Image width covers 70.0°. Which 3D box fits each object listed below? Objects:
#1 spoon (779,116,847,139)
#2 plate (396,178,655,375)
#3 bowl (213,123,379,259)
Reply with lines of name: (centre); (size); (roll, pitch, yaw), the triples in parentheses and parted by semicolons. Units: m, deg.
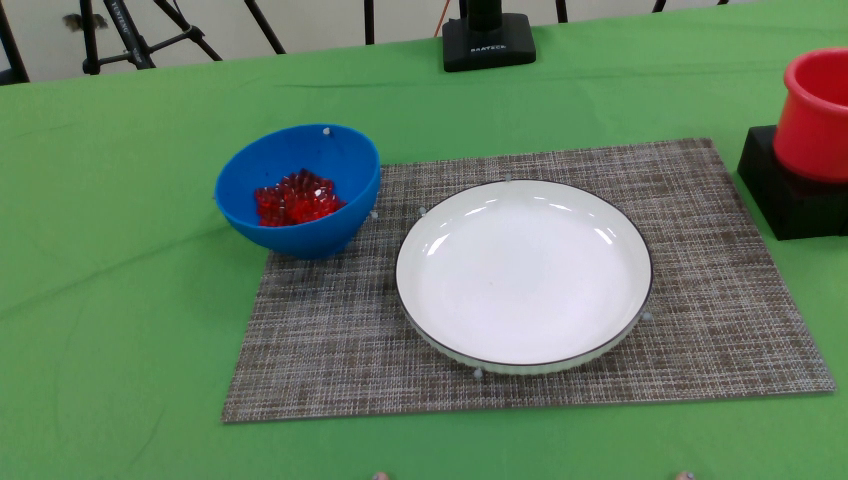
spoon: (0.345, -0.098, 0.447); (0.041, 0.021, 0.193); (-20, 2, -10)
plate: (0.082, 0.028, 0.508); (0.207, 0.039, 0.205); (-5, 45, 5)
bowl: (-0.111, -0.035, 0.572); (0.151, 0.077, 0.150); (-5, 45, 5)
